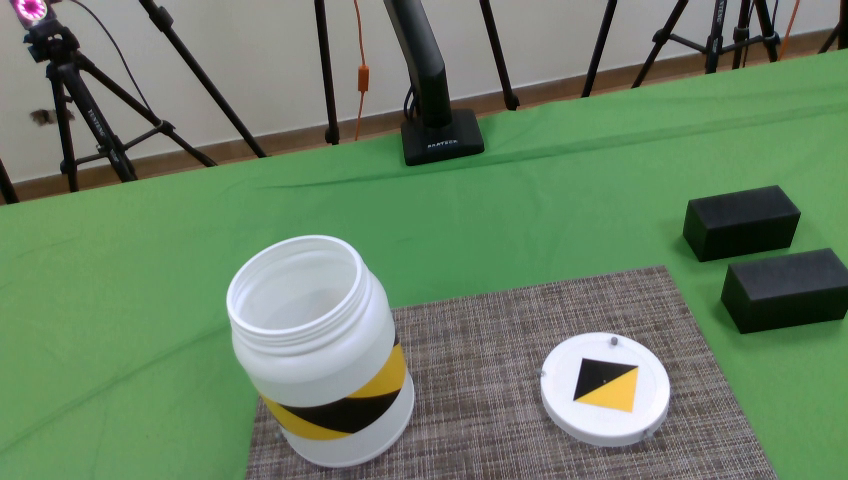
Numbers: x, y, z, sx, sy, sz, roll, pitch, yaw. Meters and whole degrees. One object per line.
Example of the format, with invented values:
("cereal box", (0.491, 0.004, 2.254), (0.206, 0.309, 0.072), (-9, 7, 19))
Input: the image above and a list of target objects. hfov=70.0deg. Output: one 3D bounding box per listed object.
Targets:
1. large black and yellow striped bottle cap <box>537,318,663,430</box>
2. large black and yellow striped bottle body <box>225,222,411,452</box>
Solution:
("large black and yellow striped bottle cap", (0.163, 0.122, 0.566), (0.115, 0.019, 0.114), (-6, 44, 6))
("large black and yellow striped bottle body", (-0.089, 0.087, 0.534), (0.130, 0.186, 0.129), (-6, 43, 6))
